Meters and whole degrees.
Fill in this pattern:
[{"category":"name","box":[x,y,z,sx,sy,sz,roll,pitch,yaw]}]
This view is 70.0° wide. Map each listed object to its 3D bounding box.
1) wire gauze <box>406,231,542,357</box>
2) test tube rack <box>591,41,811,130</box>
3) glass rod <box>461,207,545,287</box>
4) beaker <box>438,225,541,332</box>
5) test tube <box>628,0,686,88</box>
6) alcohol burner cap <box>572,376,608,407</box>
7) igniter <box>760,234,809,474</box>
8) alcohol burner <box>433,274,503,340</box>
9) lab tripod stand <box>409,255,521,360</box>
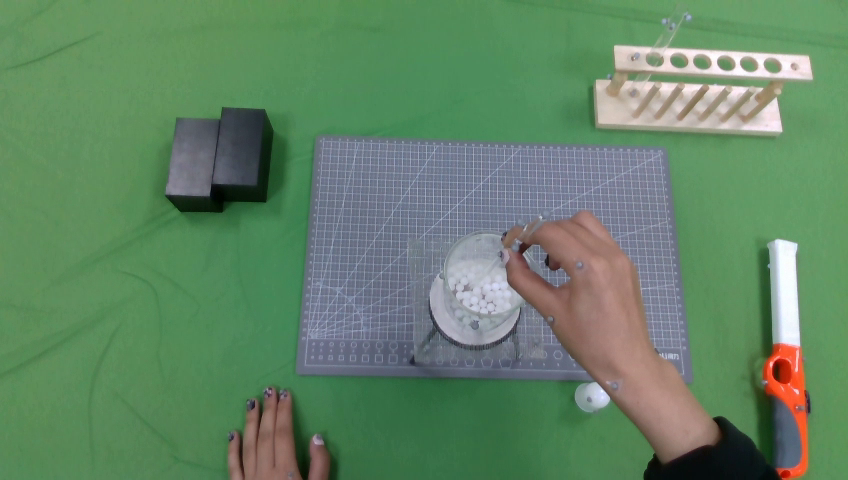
[{"category":"wire gauze","box":[0.046,0.050,0.577,0.125,0.011,0.120,-2,70,-1]},{"category":"test tube rack","box":[0.345,-0.193,0.765,0.242,0.085,0.066,2,72,-2]},{"category":"glass rod","box":[0.057,0.011,0.483,0.008,0.200,0.008,4,71,-11]},{"category":"beaker","box":[0.052,0.038,0.530,0.084,0.101,0.073,-3,71,-3]},{"category":"test tube","box":[0.274,-0.229,0.721,0.017,0.151,0.017,1,69,-1]},{"category":"alcohol burner cap","box":[0.185,0.166,0.667,0.034,0.048,0.033,1,71,-1]},{"category":"igniter","box":[0.414,0.126,0.698,0.057,0.025,0.275,12,72,-9]},{"category":"alcohol burner","box":[0.049,0.069,0.650,0.078,0.119,0.077,1,70,-4]},{"category":"lab tripod stand","box":[0.044,0.073,0.638,0.148,0.132,0.147,0,71,-1]}]
